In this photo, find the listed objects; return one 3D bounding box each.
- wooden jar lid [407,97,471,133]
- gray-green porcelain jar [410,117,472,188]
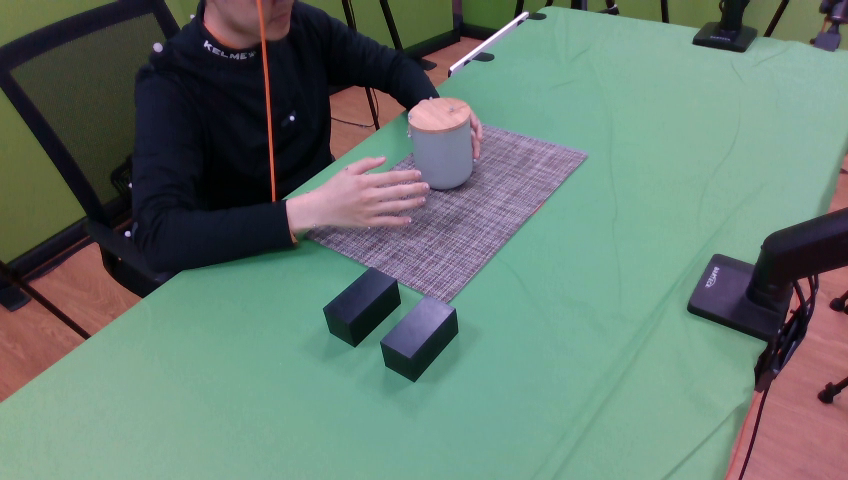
[{"bbox_3d":[0.026,-0.209,1.028,0.108,0.021,0.108,-6,41,5],"label":"wooden jar lid"},{"bbox_3d":[0.032,-0.163,1.068,0.106,0.127,0.105,-3,43,4],"label":"gray-green porcelain jar"}]
